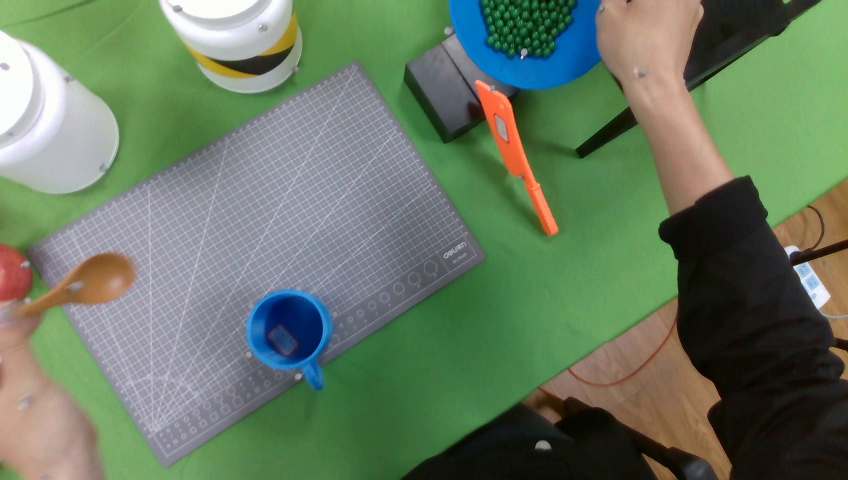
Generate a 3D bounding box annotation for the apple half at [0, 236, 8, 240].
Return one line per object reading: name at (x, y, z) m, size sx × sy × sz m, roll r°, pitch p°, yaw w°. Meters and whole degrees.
apple half at (-0.494, 0.017, 0.657) m, size 0.033 × 0.081 × 0.081 m, roll 44°, pitch 82°, yaw -5°

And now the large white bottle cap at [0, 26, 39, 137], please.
large white bottle cap at (-0.409, -0.143, 0.541) m, size 0.115 × 0.018 × 0.114 m, roll 1°, pitch 85°, yaw -6°

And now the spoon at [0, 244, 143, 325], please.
spoon at (-0.264, 0.041, 0.405) m, size 0.021 × 0.193 × 0.042 m, roll 10°, pitch 106°, yaw 12°

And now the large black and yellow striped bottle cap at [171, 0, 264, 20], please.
large black and yellow striped bottle cap at (-0.200, -0.268, 0.578) m, size 0.115 × 0.019 × 0.114 m, roll 1°, pitch 85°, yaw -8°

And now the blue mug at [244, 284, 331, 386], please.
blue mug at (-0.141, 0.107, 0.671) m, size 0.082 × 0.106 × 0.116 m, roll -24°, pitch 87°, yaw -8°

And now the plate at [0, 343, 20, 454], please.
plate at (-0.545, 0.176, 0.655) m, size 0.209 × 0.038 × 0.208 m, roll 1°, pitch 85°, yaw -6°

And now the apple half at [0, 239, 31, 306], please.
apple half at (-0.466, 0.044, 0.659) m, size 0.053 × 0.074 × 0.080 m, roll 44°, pitch 78°, yaw -5°

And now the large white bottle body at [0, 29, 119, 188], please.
large white bottle body at (-0.416, -0.134, 0.625) m, size 0.131 × 0.185 × 0.130 m, roll 1°, pitch 83°, yaw -6°

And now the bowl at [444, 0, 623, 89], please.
bowl at (0.089, -0.207, 0.532) m, size 0.151 × 0.076 × 0.152 m, roll -1°, pitch 101°, yaw -3°

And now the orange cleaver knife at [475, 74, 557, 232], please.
orange cleaver knife at (0.111, -0.101, 0.731) m, size 0.012 × 0.076 × 0.213 m, roll -33°, pitch 120°, yaw -9°

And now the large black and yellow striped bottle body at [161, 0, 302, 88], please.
large black and yellow striped bottle body at (-0.208, -0.257, 0.661) m, size 0.131 × 0.184 × 0.130 m, roll 1°, pitch 84°, yaw -6°
